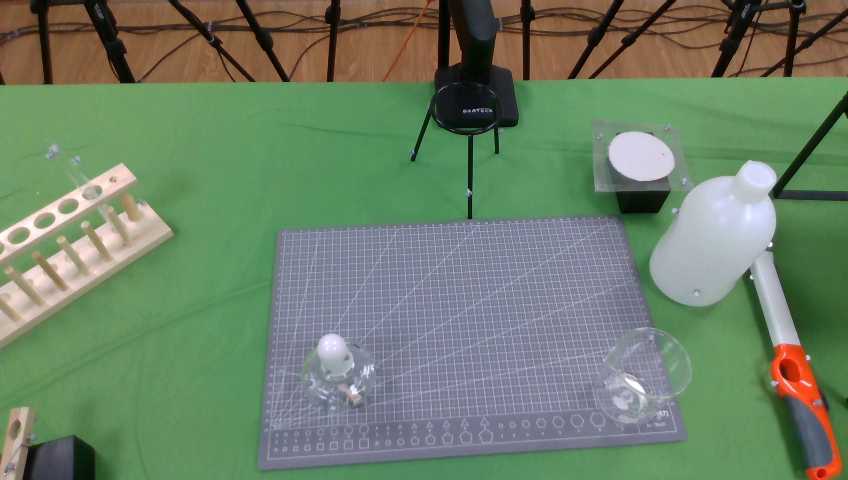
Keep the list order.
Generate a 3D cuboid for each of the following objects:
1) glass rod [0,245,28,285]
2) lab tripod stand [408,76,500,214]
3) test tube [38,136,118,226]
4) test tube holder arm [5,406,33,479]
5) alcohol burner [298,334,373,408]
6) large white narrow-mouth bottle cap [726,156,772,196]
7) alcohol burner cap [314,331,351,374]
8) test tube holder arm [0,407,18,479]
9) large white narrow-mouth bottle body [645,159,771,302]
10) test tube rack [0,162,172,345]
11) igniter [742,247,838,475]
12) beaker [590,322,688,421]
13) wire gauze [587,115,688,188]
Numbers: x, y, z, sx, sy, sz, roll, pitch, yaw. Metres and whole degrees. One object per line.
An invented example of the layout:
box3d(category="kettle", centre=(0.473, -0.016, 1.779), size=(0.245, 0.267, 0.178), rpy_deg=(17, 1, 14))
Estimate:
box3d(category="glass rod", centre=(-0.460, -0.011, 0.638), size=(0.008, 0.201, 0.008), rpy_deg=(3, 48, -3))
box3d(category="lab tripod stand", centre=(0.047, -0.129, 0.783), size=(0.148, 0.132, 0.147), rpy_deg=(2, 58, -2))
box3d(category="test tube", centre=(-0.391, -0.062, 0.694), size=(0.017, 0.151, 0.017), rpy_deg=(-2, 56, 3))
box3d(category="test tube holder arm", centre=(-0.373, 0.238, 0.542), size=(0.013, 0.015, 0.176), rpy_deg=(-11, 62, 0))
box3d(category="alcohol burner", centre=(-0.091, 0.127, 0.619), size=(0.078, 0.120, 0.077), rpy_deg=(2, 55, -3))
box3d(category="large white narrow-mouth bottle cap", centre=(0.326, -0.065, 0.609), size=(0.038, 0.024, 0.037), rpy_deg=(1, 56, -1))
box3d(category="alcohol burner cap", centre=(-0.091, 0.107, 0.589), size=(0.034, 0.048, 0.033), rpy_deg=(-2, 56, 4))
box3d(category="test tube holder arm", centre=(-0.385, 0.200, 0.563), size=(0.010, 0.015, 0.087), rpy_deg=(-10, 62, 1))
box3d(category="large white narrow-mouth bottle body", centre=(0.324, -0.016, 0.680), size=(0.102, 0.196, 0.101), rpy_deg=(1, 56, -1))
box3d(category="test tube rack", centre=(-0.428, 0.018, 0.699), size=(0.242, 0.086, 0.066), rpy_deg=(-39, 66, -24))
box3d(category="igniter", centre=(0.411, 0.125, 0.691), size=(0.057, 0.025, 0.274), rpy_deg=(7, 56, -9))
box3d(category="beaker", centre=(0.215, 0.140, 0.629), size=(0.084, 0.101, 0.073), rpy_deg=(2, 56, 1))
box3d(category="wire gauze", centre=(0.277, -0.116, 0.797), size=(0.121, 0.011, 0.124), rpy_deg=(4, 56, 1))
